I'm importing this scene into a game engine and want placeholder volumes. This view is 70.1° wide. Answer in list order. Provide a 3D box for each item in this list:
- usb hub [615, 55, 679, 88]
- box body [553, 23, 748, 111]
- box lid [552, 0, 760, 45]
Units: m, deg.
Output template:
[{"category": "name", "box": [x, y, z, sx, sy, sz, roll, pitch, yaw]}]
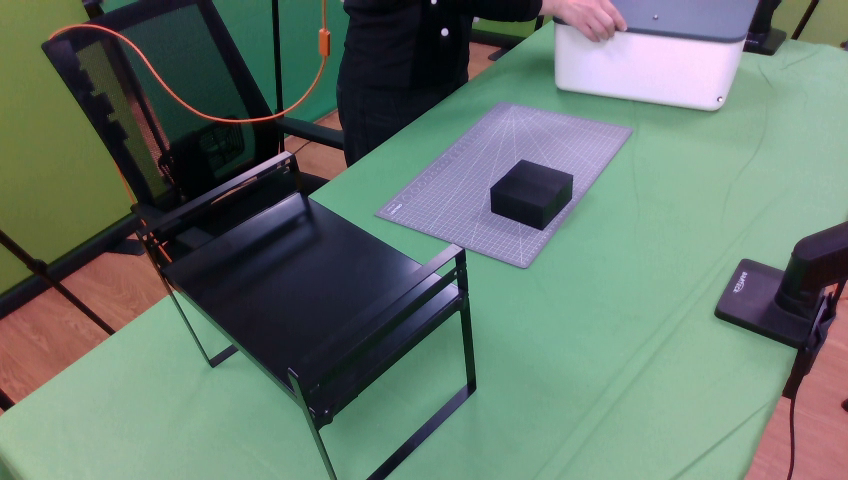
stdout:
[{"category": "usb hub", "box": [0.482, -0.366, 1.309, 0.124, 0.025, 0.049, 25, 48, 24]}, {"category": "box body", "box": [0.480, -0.417, 1.282, 0.362, 0.161, 0.254, 16, 46, 25]}, {"category": "box lid", "box": [0.471, -0.475, 1.233, 0.369, 0.015, 0.263, 17, 46, 24]}]
